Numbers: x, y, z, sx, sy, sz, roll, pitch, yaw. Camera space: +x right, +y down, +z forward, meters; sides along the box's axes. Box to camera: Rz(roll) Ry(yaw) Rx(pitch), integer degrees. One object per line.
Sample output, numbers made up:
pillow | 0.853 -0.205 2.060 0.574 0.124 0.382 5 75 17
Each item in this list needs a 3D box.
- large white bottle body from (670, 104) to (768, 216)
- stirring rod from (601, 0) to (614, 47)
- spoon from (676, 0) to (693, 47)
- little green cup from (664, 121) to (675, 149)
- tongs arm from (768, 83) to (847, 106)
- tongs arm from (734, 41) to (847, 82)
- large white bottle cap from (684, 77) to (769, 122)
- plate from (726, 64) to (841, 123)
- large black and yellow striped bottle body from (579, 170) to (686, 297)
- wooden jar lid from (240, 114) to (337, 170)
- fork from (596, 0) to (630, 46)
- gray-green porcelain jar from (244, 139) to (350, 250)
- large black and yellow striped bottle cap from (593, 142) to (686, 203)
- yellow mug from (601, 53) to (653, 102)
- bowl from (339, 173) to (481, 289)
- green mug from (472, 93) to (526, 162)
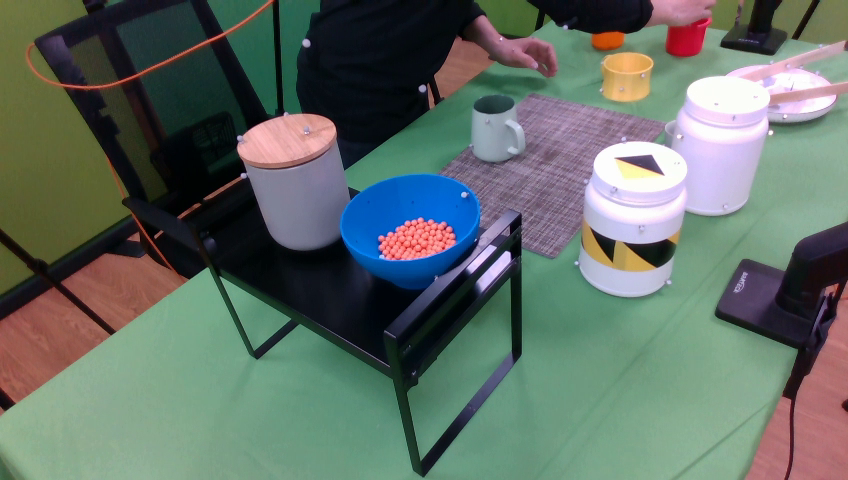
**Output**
large white bottle body | 0.458 -0.146 0.952 0.130 0.185 0.130 -4 40 4
stirring rod | 0.439 -0.552 1.463 0.014 0.006 0.175 -7 83 2
spoon | 0.592 -0.523 1.338 0.021 0.194 0.041 4 38 7
little green cup | 0.472 -0.188 1.113 0.061 0.039 0.061 -5 40 4
tongs arm | 0.738 -0.282 1.134 0.388 0.028 0.028 -9 47 -5
tongs arm | 0.712 -0.332 1.194 0.386 0.026 0.050 -18 45 -16
large white bottle cap | 0.448 -0.209 0.897 0.115 0.018 0.114 -4 40 4
plate | 0.695 -0.282 1.189 0.207 0.039 0.206 -4 40 4
large black and yellow striped bottle body | 0.287 -0.027 0.841 0.131 0.185 0.130 -4 40 4
wooden jar lid | -0.149 -0.106 0.673 0.108 0.021 0.108 -6 38 5
fork | 0.481 -0.556 1.452 0.028 0.019 0.207 40 103 38
gray-green porcelain jar | -0.144 -0.060 0.714 0.106 0.127 0.105 -4 41 4
large black and yellow striped bottle cap | 0.280 -0.090 0.786 0.115 0.019 0.114 -5 41 5
yellow mug | 0.423 -0.354 1.293 0.100 0.064 0.129 -23 42 -16
bowl | -0.011 0.001 0.660 0.151 0.077 0.150 -5 41 5
green mug | 0.144 -0.202 1.122 0.093 0.105 0.124 -29 45 -23
